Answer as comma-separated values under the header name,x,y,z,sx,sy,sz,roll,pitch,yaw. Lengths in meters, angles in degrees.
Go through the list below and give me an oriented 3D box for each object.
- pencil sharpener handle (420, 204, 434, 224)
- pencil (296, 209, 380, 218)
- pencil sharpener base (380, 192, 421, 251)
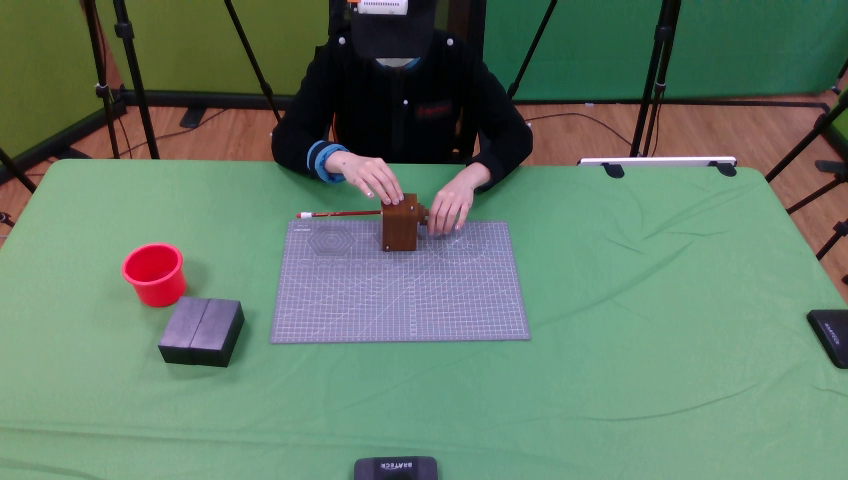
name,x,y,z,sx,sy,sz,roll,pitch,yaw
pencil sharpener handle,0.006,-0.048,1.162,0.031,0.068,0.036,0,67,-5
pencil,-0.145,-0.051,1.143,0.194,0.012,0.012,-2,46,1
pencil sharpener base,-0.046,-0.035,1.163,0.077,0.107,0.061,0,46,-5
